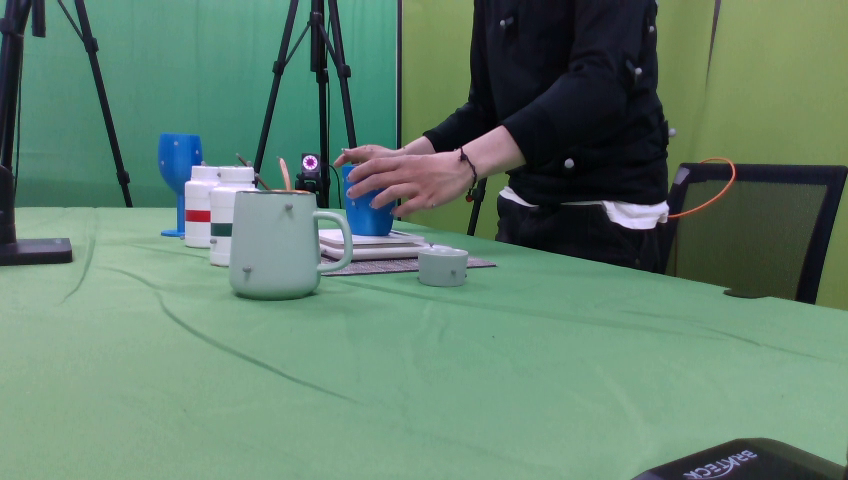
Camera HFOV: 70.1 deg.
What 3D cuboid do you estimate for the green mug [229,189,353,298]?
[{"bbox_3d":[-0.135,0.002,0.618,0.125,0.105,0.092,2,7,4],"label":"green mug"}]

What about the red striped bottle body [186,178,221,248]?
[{"bbox_3d":[-0.331,-0.050,0.927,0.063,0.119,0.063,2,6,0],"label":"red striped bottle body"}]

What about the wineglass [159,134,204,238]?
[{"bbox_3d":[-0.415,-0.093,1.040,0.074,0.172,0.073,2,7,0],"label":"wineglass"}]

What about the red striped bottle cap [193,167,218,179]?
[{"bbox_3d":[-0.329,-0.103,0.921,0.044,0.017,0.044,-1,9,0],"label":"red striped bottle cap"}]

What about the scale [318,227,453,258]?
[{"bbox_3d":[-0.067,0.001,0.906,0.202,0.031,0.148,-2,8,-31],"label":"scale"}]

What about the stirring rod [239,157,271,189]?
[{"bbox_3d":[-0.309,-0.099,1.214,0.006,0.177,0.014,-38,26,2],"label":"stirring rod"}]

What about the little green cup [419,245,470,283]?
[{"bbox_3d":[0.023,0.028,0.712,0.061,0.038,0.061,1,6,0],"label":"little green cup"}]

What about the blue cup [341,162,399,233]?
[{"bbox_3d":[-0.077,-0.063,0.885,0.093,0.100,0.092,-1,7,0],"label":"blue cup"}]

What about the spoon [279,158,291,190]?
[{"bbox_3d":[-0.281,-0.103,1.251,0.042,0.193,0.021,16,-45,-38],"label":"spoon"}]

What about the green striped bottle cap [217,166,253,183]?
[{"bbox_3d":[-0.242,-0.085,0.777,0.044,0.020,0.044,2,9,0],"label":"green striped bottle cap"}]

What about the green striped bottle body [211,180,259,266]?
[{"bbox_3d":[-0.243,-0.029,0.784,0.063,0.119,0.063,2,7,0],"label":"green striped bottle body"}]
